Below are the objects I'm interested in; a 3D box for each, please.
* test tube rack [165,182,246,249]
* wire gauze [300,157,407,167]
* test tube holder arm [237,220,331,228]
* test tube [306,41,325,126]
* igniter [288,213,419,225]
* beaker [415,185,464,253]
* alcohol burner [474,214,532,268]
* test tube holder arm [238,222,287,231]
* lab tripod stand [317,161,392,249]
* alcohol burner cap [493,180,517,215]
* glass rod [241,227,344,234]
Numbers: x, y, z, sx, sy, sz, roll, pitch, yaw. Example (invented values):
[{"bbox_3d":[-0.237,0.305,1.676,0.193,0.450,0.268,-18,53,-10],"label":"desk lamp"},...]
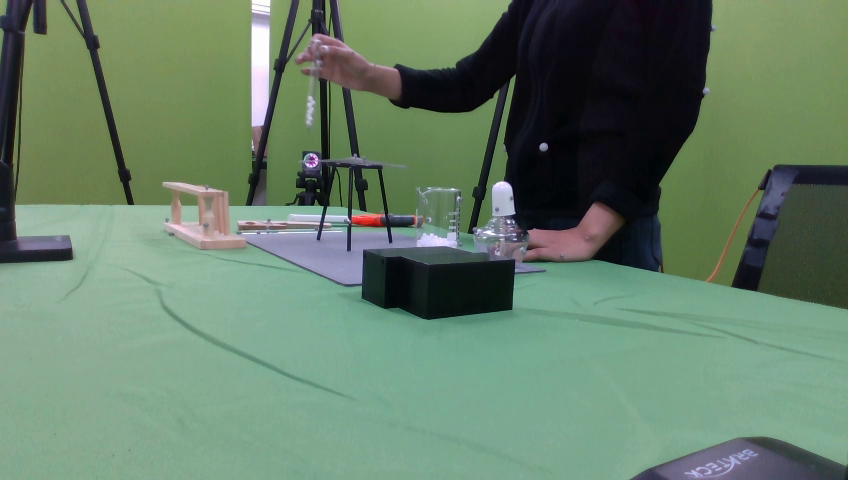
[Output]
[{"bbox_3d":[-0.360,-0.045,0.983,0.067,0.085,0.241,-3,9,-34],"label":"test tube rack"},{"bbox_3d":[-0.112,-0.126,0.959,0.121,0.011,0.126,11,11,41],"label":"wire gauze"},{"bbox_3d":[-0.260,-0.029,1.140,0.179,0.015,0.013,-2,41,-32],"label":"test tube holder arm"},{"bbox_3d":[-0.195,-0.280,1.084,0.017,0.150,0.017,8,5,0],"label":"test tube"},{"bbox_3d":[-0.145,-0.044,1.278,0.278,0.025,0.057,-1,-2,-21],"label":"igniter"},{"bbox_3d":[0.021,-0.033,0.938,0.073,0.100,0.084,7,10,35],"label":"beaker"},{"bbox_3d":[0.107,-0.022,0.819,0.078,0.119,0.078,1,9,0],"label":"alcohol burner"},{"bbox_3d":[-0.296,-0.024,1.112,0.088,0.015,0.010,-2,41,-32],"label":"test tube holder arm"},{"bbox_3d":[-0.111,-0.059,0.963,0.148,0.131,0.148,4,8,0],"label":"lab tripod stand"},{"bbox_3d":[0.107,-0.057,0.813,0.034,0.048,0.034,-6,11,2],"label":"alcohol burner cap"},{"bbox_3d":[-0.239,-0.019,1.119,0.201,0.008,0.008,-3,9,-34],"label":"glass rod"}]
